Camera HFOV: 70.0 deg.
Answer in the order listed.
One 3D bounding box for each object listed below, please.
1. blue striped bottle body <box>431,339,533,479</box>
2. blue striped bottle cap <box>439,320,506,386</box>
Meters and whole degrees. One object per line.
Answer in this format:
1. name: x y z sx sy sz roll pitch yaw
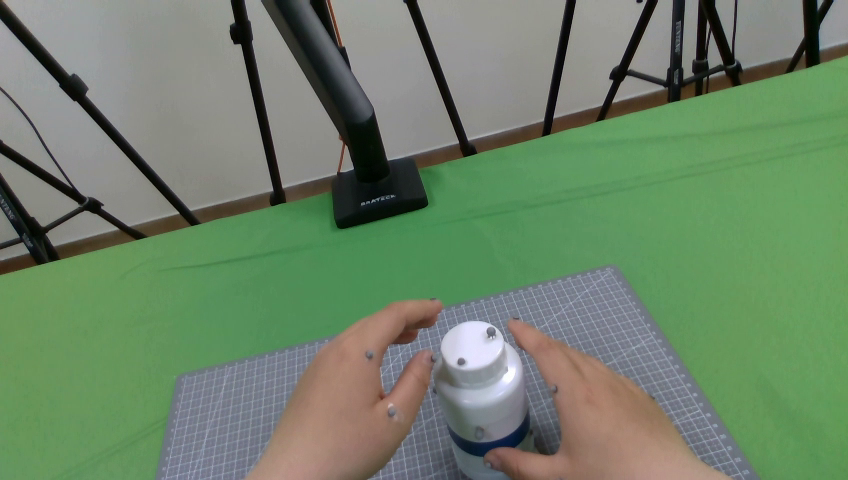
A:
1. blue striped bottle body: 0.042 0.114 0.436 0.063 0.122 0.062 -9 38 7
2. blue striped bottle cap: 0.032 0.075 0.405 0.044 0.021 0.044 -8 38 7
